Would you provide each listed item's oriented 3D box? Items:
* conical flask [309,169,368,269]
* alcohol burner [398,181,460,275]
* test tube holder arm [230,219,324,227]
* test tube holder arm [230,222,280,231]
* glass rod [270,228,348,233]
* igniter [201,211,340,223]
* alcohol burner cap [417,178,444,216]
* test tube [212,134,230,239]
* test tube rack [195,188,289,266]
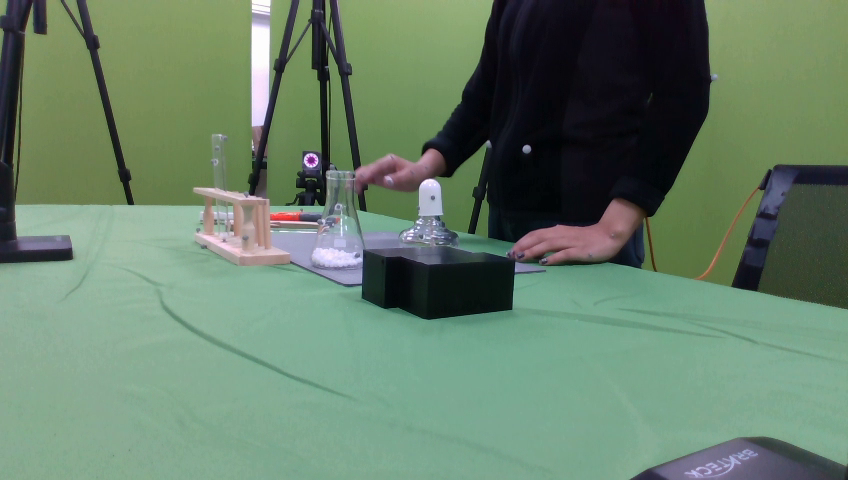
[{"bbox_3d":[-0.107,-0.028,0.762,0.075,0.122,0.075,2,7,0],"label":"conical flask"},{"bbox_3d":[0.007,-0.017,0.751,0.078,0.119,0.078,3,9,0],"label":"alcohol burner"},{"bbox_3d":[-0.275,-0.031,1.145,0.179,0.015,0.013,-3,46,-31],"label":"test tube holder arm"},{"bbox_3d":[-0.312,-0.025,1.118,0.088,0.015,0.010,-2,45,-30],"label":"test tube holder arm"},{"bbox_3d":[-0.234,-0.017,1.105,0.201,0.008,0.008,1,7,-26],"label":"glass rod"},{"bbox_3d":[-0.311,-0.048,1.243,0.278,0.025,0.057,-1,-2,-24],"label":"igniter"},{"bbox_3d":[0.007,-0.053,0.745,0.034,0.048,0.034,-3,6,1],"label":"alcohol burner cap"},{"bbox_3d":[-0.290,-0.076,0.863,0.017,0.150,0.017,-2,6,0],"label":"test tube"},{"bbox_3d":[-0.266,-0.025,0.864,0.067,0.085,0.241,-2,8,-33],"label":"test tube rack"}]
